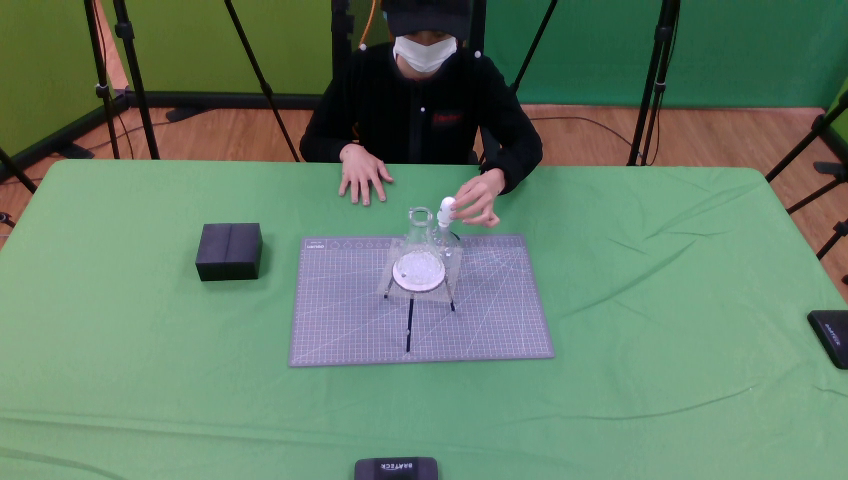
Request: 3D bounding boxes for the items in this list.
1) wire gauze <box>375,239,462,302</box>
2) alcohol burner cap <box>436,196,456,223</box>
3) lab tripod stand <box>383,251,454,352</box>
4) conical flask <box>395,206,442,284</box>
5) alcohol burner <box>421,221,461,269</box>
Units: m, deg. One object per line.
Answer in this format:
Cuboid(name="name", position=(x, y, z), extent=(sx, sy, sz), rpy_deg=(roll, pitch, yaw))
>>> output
Cuboid(name="wire gauze", position=(-0.006, 0.049, 0.977), extent=(0.121, 0.011, 0.124), rpy_deg=(10, 44, 5))
Cuboid(name="alcohol burner cap", position=(0.041, -0.057, 1.073), extent=(0.034, 0.048, 0.033), rpy_deg=(7, 46, -7))
Cuboid(name="lab tripod stand", position=(-0.015, 0.094, 1.025), extent=(0.148, 0.132, 0.147), rpy_deg=(1, 46, -1))
Cuboid(name="conical flask", position=(-0.007, 0.005, 0.937), extent=(0.075, 0.122, 0.075), rpy_deg=(2, 45, -1))
Cuboid(name="alcohol burner", position=(0.033, -0.001, 1.135), extent=(0.078, 0.119, 0.077), rpy_deg=(2, 48, -2))
